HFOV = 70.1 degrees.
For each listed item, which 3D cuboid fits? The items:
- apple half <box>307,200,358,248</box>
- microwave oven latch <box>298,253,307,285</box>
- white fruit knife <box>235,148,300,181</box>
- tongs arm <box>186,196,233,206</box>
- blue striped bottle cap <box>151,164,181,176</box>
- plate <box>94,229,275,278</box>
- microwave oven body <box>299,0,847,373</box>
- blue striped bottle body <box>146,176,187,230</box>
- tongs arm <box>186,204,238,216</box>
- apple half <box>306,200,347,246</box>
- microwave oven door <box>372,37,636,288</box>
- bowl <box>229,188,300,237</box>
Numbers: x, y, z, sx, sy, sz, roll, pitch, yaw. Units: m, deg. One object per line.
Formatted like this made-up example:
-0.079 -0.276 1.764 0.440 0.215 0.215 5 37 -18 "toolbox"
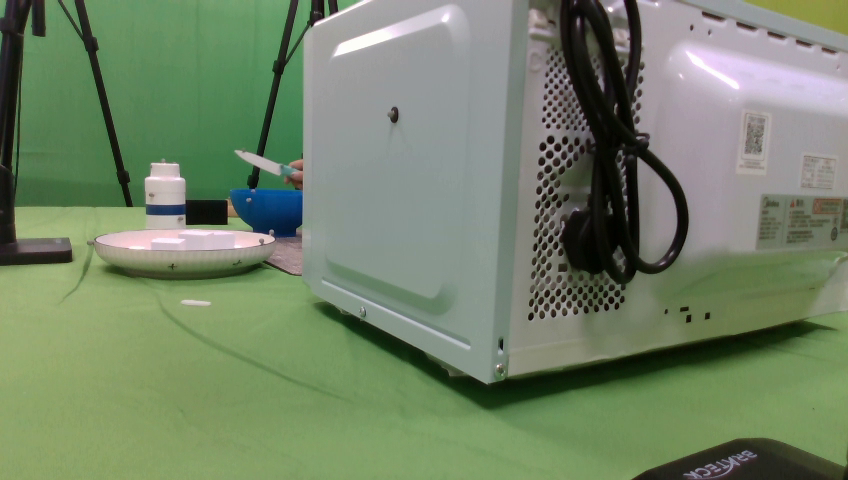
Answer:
-0.134 -0.024 0.938 0.053 0.074 0.081 14 10 43 "apple half"
-0.081 0.027 0.582 0.079 0.029 0.030 -2 7 -32 "microwave oven latch"
-0.295 -0.148 1.254 0.208 0.027 0.016 21 -4 -37 "white fruit knife"
-0.404 -0.081 1.479 0.385 0.026 0.050 3 8 -2 "tongs arm"
-0.428 -0.116 1.002 0.044 0.020 0.044 1 6 0 "blue striped bottle cap"
-0.291 0.016 0.750 0.208 0.039 0.207 2 7 0 "plate"
0.152 -0.055 0.542 0.444 0.260 0.324 -2 7 -33 "microwave oven body"
-0.430 -0.065 1.010 0.063 0.120 0.063 2 7 0 "blue striped bottle body"
-0.396 -0.067 1.399 0.389 0.028 0.028 1 5 -15 "tongs arm"
-0.162 -0.029 0.965 0.032 0.081 0.082 13 12 43 "apple half"
0.110 -0.080 0.686 0.358 0.243 0.039 -2 9 -33 "microwave oven door"
-0.265 -0.048 1.066 0.151 0.077 0.151 3 8 0 "bowl"
